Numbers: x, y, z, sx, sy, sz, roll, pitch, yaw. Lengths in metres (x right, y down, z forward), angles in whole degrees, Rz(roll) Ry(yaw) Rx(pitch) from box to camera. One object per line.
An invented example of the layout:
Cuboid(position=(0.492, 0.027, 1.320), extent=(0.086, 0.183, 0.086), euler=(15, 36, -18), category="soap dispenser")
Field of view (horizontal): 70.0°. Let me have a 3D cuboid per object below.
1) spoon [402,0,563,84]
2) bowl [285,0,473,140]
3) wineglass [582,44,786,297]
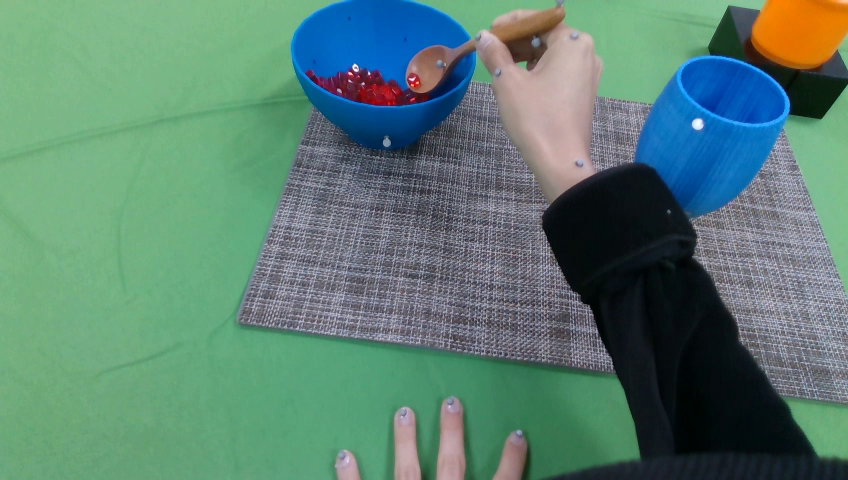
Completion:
Cuboid(position=(0.034, -0.150, 0.453), extent=(0.022, 0.192, 0.041), euler=(10, 89, -27), category="spoon")
Cuboid(position=(-0.038, -0.139, 0.517), extent=(0.151, 0.077, 0.150), euler=(3, 53, -4), category="bowl")
Cuboid(position=(0.160, -0.036, 0.399), extent=(0.074, 0.173, 0.073), euler=(3, 52, -3), category="wineglass")
